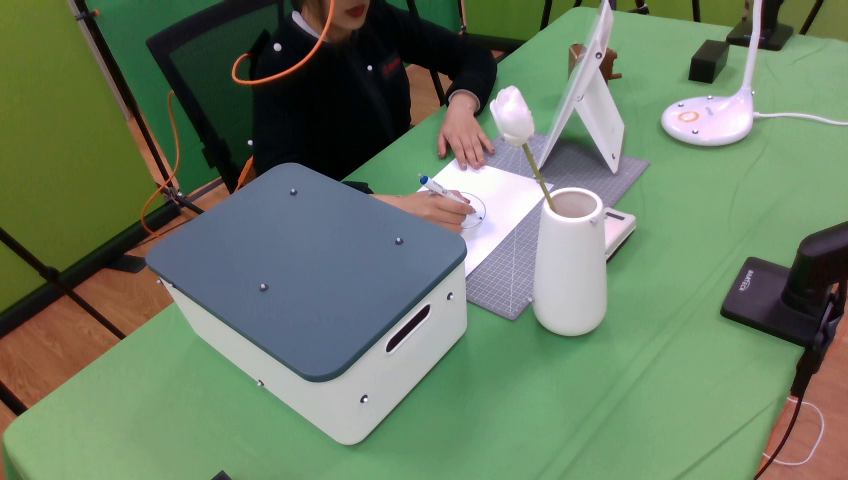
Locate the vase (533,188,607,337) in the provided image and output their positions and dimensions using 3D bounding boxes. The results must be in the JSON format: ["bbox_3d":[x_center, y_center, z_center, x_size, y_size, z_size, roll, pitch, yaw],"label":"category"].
[{"bbox_3d":[0.187,0.033,0.771,0.098,0.201,0.097,-6,41,6],"label":"vase"}]

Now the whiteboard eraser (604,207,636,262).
[{"bbox_3d":[0.272,-0.003,0.920,0.055,0.042,0.113,27,51,33],"label":"whiteboard eraser"}]

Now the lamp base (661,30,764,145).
[{"bbox_3d":[0.535,-0.287,1.096,0.179,0.181,0.159,-10,40,-4],"label":"lamp base"}]

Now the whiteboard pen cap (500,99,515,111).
[{"bbox_3d":[0.177,-0.287,1.290,0.033,0.018,0.018,-37,47,-26],"label":"whiteboard pen cap"}]

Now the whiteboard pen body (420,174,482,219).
[{"bbox_3d":[0.046,-0.067,0.972,0.017,0.142,0.017,-30,44,35],"label":"whiteboard pen body"}]

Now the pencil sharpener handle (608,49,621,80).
[{"bbox_3d":[0.394,-0.368,1.253,0.030,0.068,0.036,-8,32,1],"label":"pencil sharpener handle"}]

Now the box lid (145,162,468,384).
[{"bbox_3d":[-0.157,0.014,0.770,0.368,0.015,0.264,25,51,33],"label":"box lid"}]

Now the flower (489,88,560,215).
[{"bbox_3d":[0.159,-0.027,0.720,0.038,0.364,0.044,-15,44,23],"label":"flower"}]

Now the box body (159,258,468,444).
[{"bbox_3d":[-0.147,0.072,0.816,0.361,0.161,0.255,24,50,33],"label":"box body"}]

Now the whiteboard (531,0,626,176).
[{"bbox_3d":[0.320,-0.259,1.051,0.144,0.306,0.217,22,45,6],"label":"whiteboard"}]

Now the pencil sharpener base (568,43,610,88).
[{"bbox_3d":[0.345,-0.352,1.263,0.077,0.107,0.061,-8,40,1],"label":"pencil sharpener base"}]
